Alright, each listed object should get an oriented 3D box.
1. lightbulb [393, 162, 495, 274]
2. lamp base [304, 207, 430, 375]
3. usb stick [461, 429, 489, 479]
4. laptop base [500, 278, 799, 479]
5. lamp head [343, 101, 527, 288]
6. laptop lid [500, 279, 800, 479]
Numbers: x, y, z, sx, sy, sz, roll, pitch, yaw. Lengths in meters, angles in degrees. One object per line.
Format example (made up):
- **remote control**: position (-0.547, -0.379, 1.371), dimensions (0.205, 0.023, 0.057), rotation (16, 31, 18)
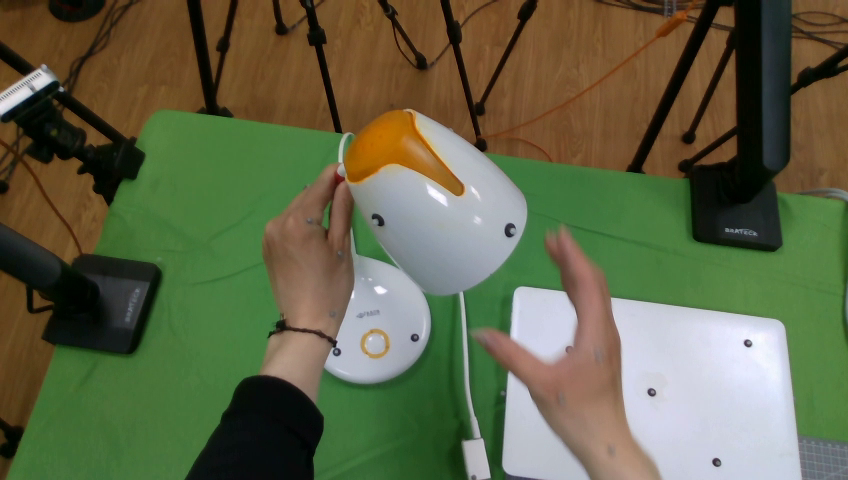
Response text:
- **lightbulb**: position (0.012, -0.018, 0.458), dimensions (0.059, 0.109, 0.059), rotation (-26, 37, 21)
- **lamp base**: position (-0.076, 0.052, 0.711), dimensions (0.161, 0.181, 0.177), rotation (-21, 66, -11)
- **usb stick**: position (0.060, 0.254, 0.712), dimensions (0.027, 0.021, 0.059), rotation (-6, 76, -4)
- **laptop base**: position (0.277, 0.180, 0.757), dimensions (0.354, 0.023, 0.234), rotation (7, 69, 1)
- **lamp head**: position (-0.003, -0.042, 0.446), dimensions (0.124, 0.112, 0.112), rotation (41, 65, -30)
- **laptop lid**: position (0.276, 0.177, 0.745), dimensions (0.357, 0.013, 0.240), rotation (8, 68, 2)
